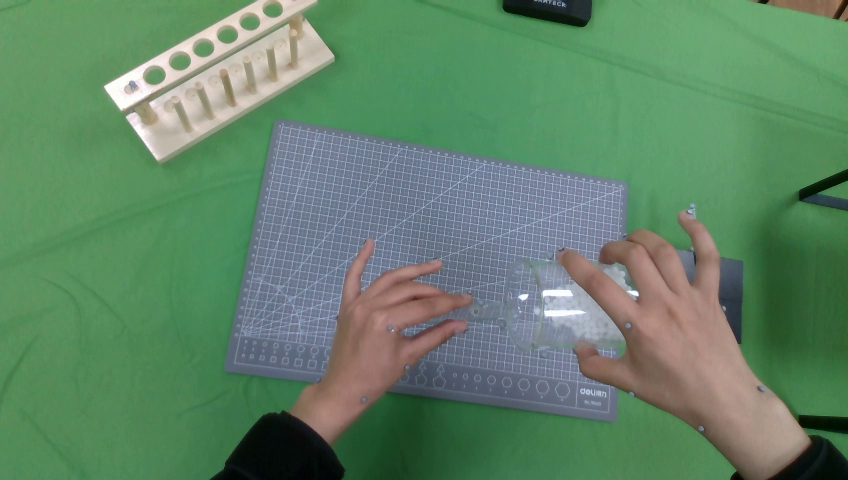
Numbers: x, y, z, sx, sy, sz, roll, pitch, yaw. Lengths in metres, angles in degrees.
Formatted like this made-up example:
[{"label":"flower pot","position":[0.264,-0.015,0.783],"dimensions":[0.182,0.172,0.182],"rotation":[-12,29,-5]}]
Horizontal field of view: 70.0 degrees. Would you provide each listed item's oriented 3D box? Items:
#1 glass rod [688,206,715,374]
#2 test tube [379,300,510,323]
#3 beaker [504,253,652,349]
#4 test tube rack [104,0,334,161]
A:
[{"label":"glass rod","position":[0.326,0.056,0.713],"dimensions":[0.008,0.008,0.198],"rotation":[0,78,-9]},{"label":"test tube","position":[0.014,0.067,0.562],"dimensions":[0.017,0.149,0.017],"rotation":[11,75,-48]},{"label":"beaker","position":[0.122,0.050,0.490],"dimensions":[0.100,0.084,0.073],"rotation":[1,77,-14]},{"label":"test tube rack","position":[-0.220,-0.194,0.687],"dimensions":[0.242,0.085,0.066],"rotation":[-36,84,-15]}]
